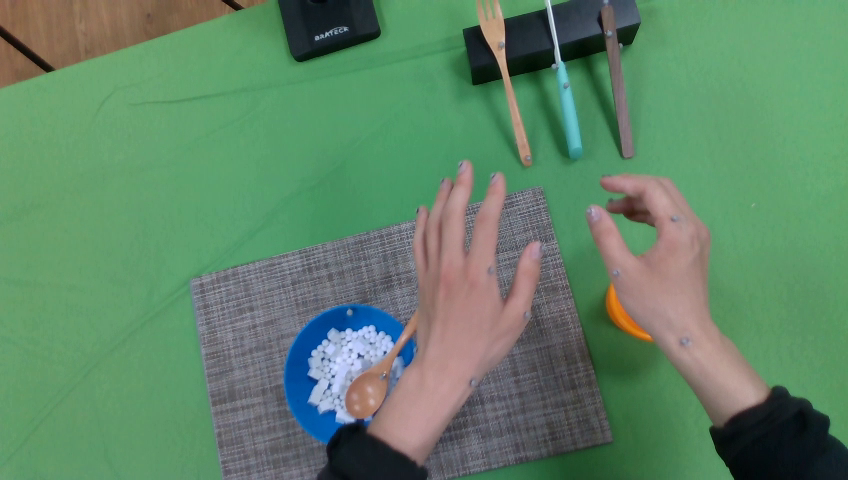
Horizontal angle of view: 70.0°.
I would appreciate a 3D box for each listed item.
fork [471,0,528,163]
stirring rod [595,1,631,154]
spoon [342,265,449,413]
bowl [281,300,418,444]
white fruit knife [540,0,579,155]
[{"bbox_3d":[0.092,-0.191,0.713,0.028,0.018,0.208,-17,99,2],"label":"fork"},{"bbox_3d":[0.221,-0.188,0.707,0.014,0.006,0.176,-12,100,3],"label":"stirring rod"},{"bbox_3d":[-0.028,0.107,0.645,0.041,0.021,0.194,36,106,6],"label":"spoon"},{"bbox_3d":[-0.075,0.145,0.678,0.151,0.077,0.151,-1,81,7],"label":"bowl"},{"bbox_3d":[0.153,-0.202,0.706,0.016,0.027,0.207,-13,96,2],"label":"white fruit knife"}]
